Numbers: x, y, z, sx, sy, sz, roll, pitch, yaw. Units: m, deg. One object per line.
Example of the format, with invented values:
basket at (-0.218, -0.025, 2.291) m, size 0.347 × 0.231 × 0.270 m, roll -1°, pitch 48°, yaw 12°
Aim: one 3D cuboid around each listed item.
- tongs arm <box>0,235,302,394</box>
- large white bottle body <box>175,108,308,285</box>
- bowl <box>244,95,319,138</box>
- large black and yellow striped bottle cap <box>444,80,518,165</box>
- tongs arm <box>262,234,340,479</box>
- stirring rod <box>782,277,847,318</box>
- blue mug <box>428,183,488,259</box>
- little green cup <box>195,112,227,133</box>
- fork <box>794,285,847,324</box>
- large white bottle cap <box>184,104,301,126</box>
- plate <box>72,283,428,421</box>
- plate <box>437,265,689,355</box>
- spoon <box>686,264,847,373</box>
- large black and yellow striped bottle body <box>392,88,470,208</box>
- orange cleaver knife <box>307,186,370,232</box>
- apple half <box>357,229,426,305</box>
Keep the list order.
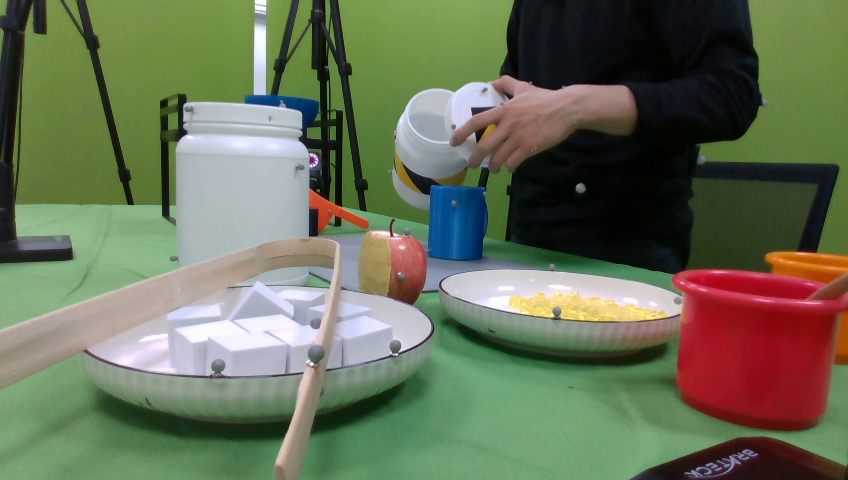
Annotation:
tongs arm at (-0.157, 0.038, 0.351) m, size 0.028 × 0.028 × 0.388 m, roll -3°, pitch 8°, yaw 12°
large white bottle body at (-0.188, -0.042, 0.630) m, size 0.131 × 0.184 × 0.130 m, roll 2°, pitch 8°, yaw 0°
bowl at (-0.293, -0.251, 1.249) m, size 0.151 × 0.077 × 0.151 m, roll 2°, pitch 7°, yaw 0°
large black and yellow striped bottle cap at (0.079, -0.159, 0.819) m, size 0.115 × 0.115 × 0.018 m, roll -3°, pitch -6°, yaw -32°
tongs arm at (-0.074, 0.039, 0.349) m, size 0.051 × 0.026 × 0.384 m, roll -2°, pitch 10°, yaw -3°
stirring rod at (0.344, 0.019, 0.461) m, size 0.014 × 0.006 × 0.176 m, roll -13°, pitch -27°, yaw -30°
blue mug at (0.059, -0.031, 0.907) m, size 0.082 × 0.106 × 0.117 m, roll 9°, pitch 10°, yaw 42°
little green cup at (-0.412, -0.227, 1.171) m, size 0.061 × 0.038 × 0.061 m, roll 3°, pitch 8°, yaw 0°
fork at (0.332, 0.018, 0.443) m, size 0.028 × 0.018 × 0.207 m, roll -1°, pitch -36°, yaw -15°
large white bottle cap at (-0.184, -0.126, 0.618) m, size 0.115 × 0.018 × 0.115 m, roll 2°, pitch 8°, yaw 0°
plate at (-0.102, 0.066, 0.381) m, size 0.208 × 0.039 × 0.207 m, roll 2°, pitch 7°, yaw 0°
plate at (0.114, 0.057, 0.517) m, size 0.209 × 0.038 × 0.209 m, roll 3°, pitch 8°, yaw 0°
spoon at (0.214, 0.032, 0.328) m, size 0.042 × 0.021 × 0.193 m, roll -2°, pitch -35°, yaw -25°
large black and yellow striped bottle body at (0.016, -0.151, 1.009) m, size 0.131 × 0.130 × 0.184 m, roll 1°, pitch -27°, yaw -6°
orange cleaver knife at (-0.197, -0.056, 1.141) m, size 0.212 × 0.077 × 0.012 m, roll 29°, pitch 0°, yaw -35°
apple half at (-0.026, 0.028, 0.570) m, size 0.053 × 0.074 × 0.080 m, roll 3°, pitch 2°, yaw -28°
